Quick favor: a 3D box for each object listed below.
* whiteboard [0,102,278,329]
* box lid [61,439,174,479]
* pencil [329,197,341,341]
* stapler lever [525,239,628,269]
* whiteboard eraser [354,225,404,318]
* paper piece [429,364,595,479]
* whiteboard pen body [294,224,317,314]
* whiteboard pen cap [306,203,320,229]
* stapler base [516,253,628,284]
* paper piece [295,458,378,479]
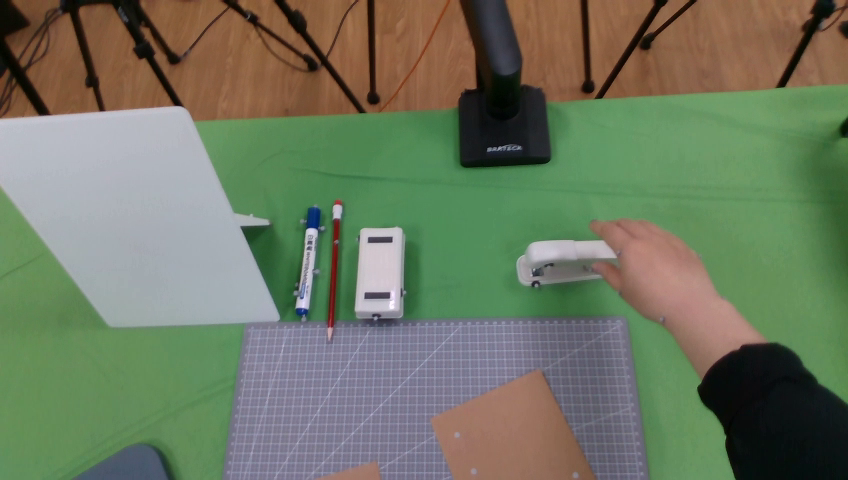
[{"bbox_3d":[-0.291,-0.051,0.676,0.217,0.308,0.142,-1,45,6],"label":"whiteboard"},{"bbox_3d":[-0.325,0.412,0.591,0.263,0.015,0.368,-30,67,-9],"label":"box lid"},{"bbox_3d":[-0.111,0.032,0.749,0.012,0.012,0.192,-4,65,4],"label":"pencil"},{"bbox_3d":[0.176,0.014,0.696,0.118,0.040,0.026,-7,67,2],"label":"stapler lever"},{"bbox_3d":[-0.053,0.037,0.724,0.055,0.042,0.112,-2,65,6],"label":"whiteboard eraser"},{"bbox_3d":[0.091,0.221,0.639,0.136,0.009,0.137,-24,67,-1],"label":"paper piece"},{"bbox_3d":[-0.145,0.023,0.753,0.017,0.017,0.139,0,64,6],"label":"whiteboard pen body"},{"bbox_3d":[-0.142,-0.029,0.776,0.018,0.018,0.033,-2,64,5],"label":"whiteboard pen cap"},{"bbox_3d":[0.176,0.025,0.717,0.130,0.024,0.041,-6,67,0],"label":"stapler base"},{"bbox_3d":[-0.101,0.308,0.617,0.135,0.004,0.134,-15,65,-2],"label":"paper piece"}]
